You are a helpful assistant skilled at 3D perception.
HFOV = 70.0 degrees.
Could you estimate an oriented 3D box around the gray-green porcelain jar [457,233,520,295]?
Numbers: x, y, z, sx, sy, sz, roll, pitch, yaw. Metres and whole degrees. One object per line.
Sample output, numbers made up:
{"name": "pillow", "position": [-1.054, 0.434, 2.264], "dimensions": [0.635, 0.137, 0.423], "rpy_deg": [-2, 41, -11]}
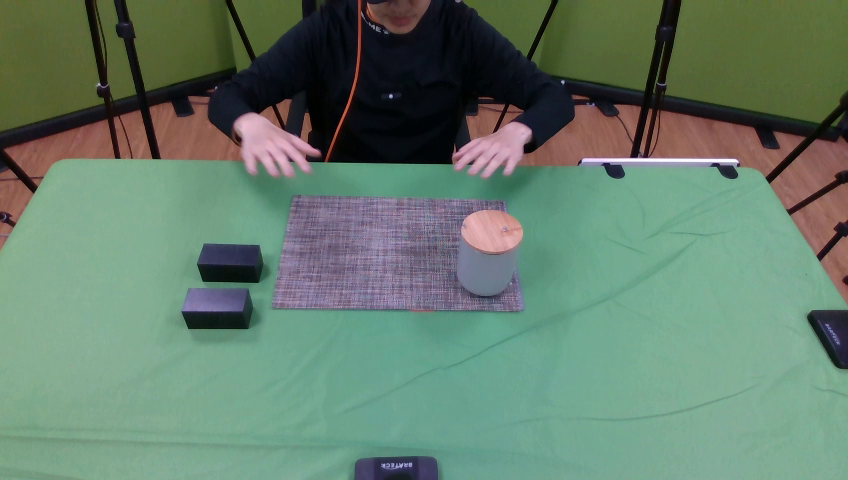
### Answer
{"name": "gray-green porcelain jar", "position": [0.115, 0.030, 1.099], "dimensions": [0.106, 0.127, 0.105], "rpy_deg": [2, 46, -2]}

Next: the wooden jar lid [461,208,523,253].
{"name": "wooden jar lid", "position": [0.118, -0.013, 1.053], "dimensions": [0.108, 0.021, 0.107], "rpy_deg": [0, 43, 0]}
